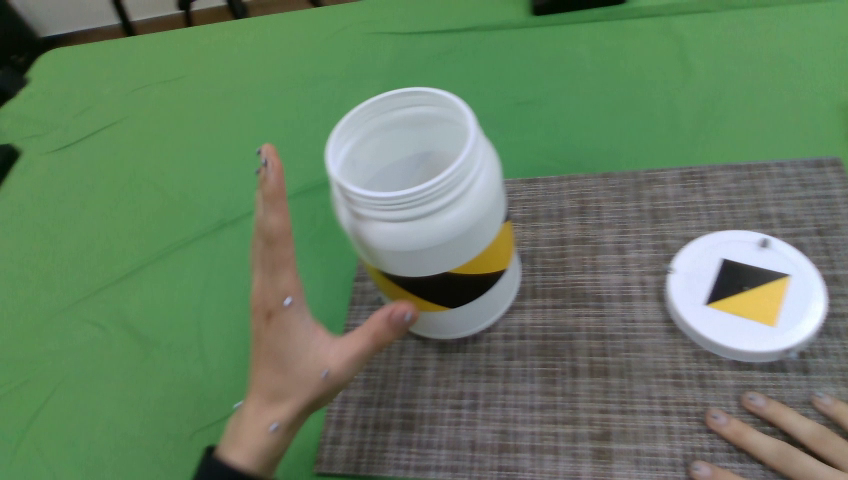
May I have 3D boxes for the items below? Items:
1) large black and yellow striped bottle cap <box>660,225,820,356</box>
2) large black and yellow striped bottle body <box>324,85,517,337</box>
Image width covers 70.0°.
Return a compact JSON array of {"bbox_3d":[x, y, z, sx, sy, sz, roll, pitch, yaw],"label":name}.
[{"bbox_3d":[0.251,0.038,0.486,0.115,0.019,0.114,-7,54,10],"label":"large black and yellow striped bottle cap"},{"bbox_3d":[0.002,-0.018,0.488,0.130,0.186,0.129,-7,53,10],"label":"large black and yellow striped bottle body"}]
